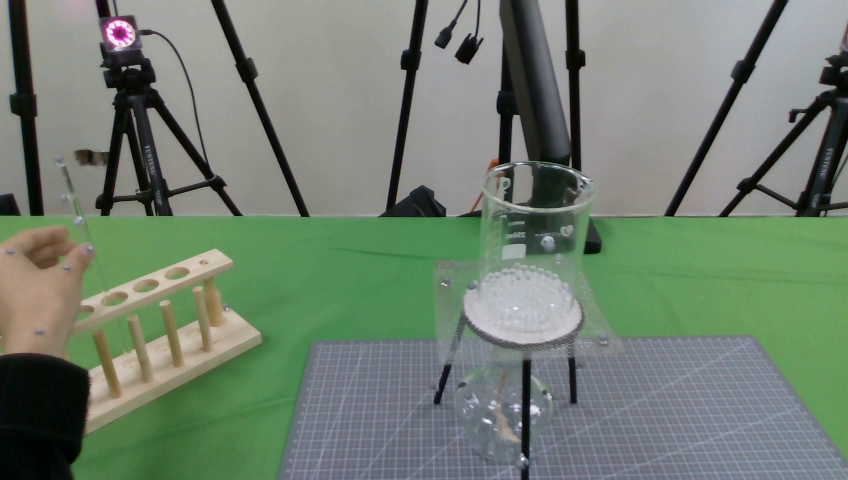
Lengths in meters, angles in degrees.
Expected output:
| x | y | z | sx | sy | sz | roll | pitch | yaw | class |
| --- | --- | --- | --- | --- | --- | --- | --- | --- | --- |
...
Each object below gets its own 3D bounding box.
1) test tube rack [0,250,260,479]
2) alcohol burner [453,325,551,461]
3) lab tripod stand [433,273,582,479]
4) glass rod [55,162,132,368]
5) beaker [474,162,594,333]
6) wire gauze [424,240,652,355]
| x | y | z | sx | sy | sz | roll | pitch | yaw | class |
| --- | --- | --- | --- | --- | --- | --- | --- | --- | --- |
| -0.274 | 0.099 | 0.538 | 0.243 | 0.086 | 0.066 | -26 | 39 | -38 | test tube rack |
| 0.062 | 0.115 | 0.476 | 0.078 | 0.120 | 0.077 | 1 | 30 | 0 | alcohol burner |
| 0.072 | 0.106 | 0.472 | 0.148 | 0.132 | 0.147 | 1 | 31 | 0 | lab tripod stand |
| -0.285 | 0.029 | 0.527 | 0.008 | 0.201 | 0.008 | -4 | 24 | 2 | glass rod |
| 0.073 | 0.006 | 0.416 | 0.084 | 0.101 | 0.073 | -12 | 34 | -20 | beaker |
| 0.076 | 0.037 | 0.427 | 0.125 | 0.011 | 0.120 | -7 | 28 | -21 | wire gauze |
